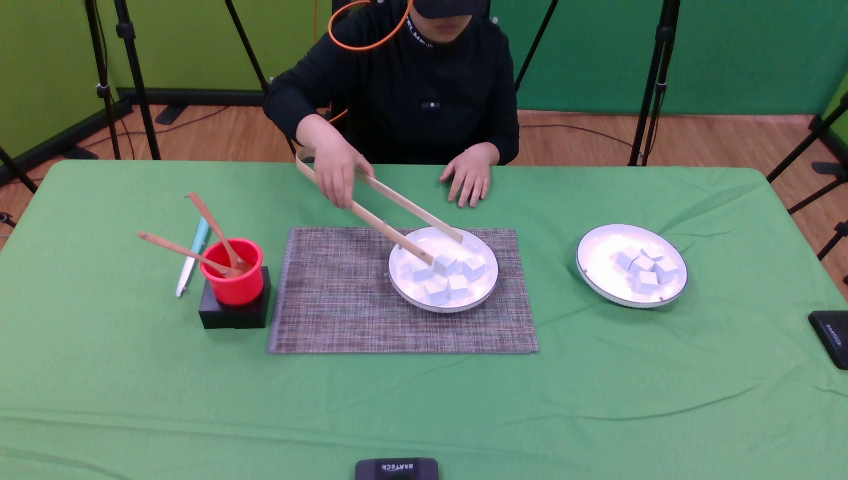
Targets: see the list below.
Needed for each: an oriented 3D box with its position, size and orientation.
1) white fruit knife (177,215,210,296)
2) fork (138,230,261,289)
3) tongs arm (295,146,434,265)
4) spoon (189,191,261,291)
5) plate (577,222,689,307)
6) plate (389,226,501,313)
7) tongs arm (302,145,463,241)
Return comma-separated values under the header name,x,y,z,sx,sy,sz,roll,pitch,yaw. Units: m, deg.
name,x,y,z,sx,sy,sz,roll,pitch,yaw
white fruit knife,-0.435,0.025,1.148,0.027,0.016,0.206,-18,45,19
fork,-0.360,0.032,0.981,0.208,0.018,0.028,31,60,-30
tongs arm,-0.117,-0.072,1.140,0.383,0.026,0.050,33,53,23
spoon,-0.333,0.001,1.012,0.041,0.194,0.021,-34,15,-25
plate,0.396,0.050,1.165,0.209,0.038,0.208,2,47,-2
plate,0.038,0.057,1.129,0.208,0.039,0.206,2,46,-2
tongs arm,-0.086,-0.096,1.168,0.386,0.028,0.028,31,55,21
